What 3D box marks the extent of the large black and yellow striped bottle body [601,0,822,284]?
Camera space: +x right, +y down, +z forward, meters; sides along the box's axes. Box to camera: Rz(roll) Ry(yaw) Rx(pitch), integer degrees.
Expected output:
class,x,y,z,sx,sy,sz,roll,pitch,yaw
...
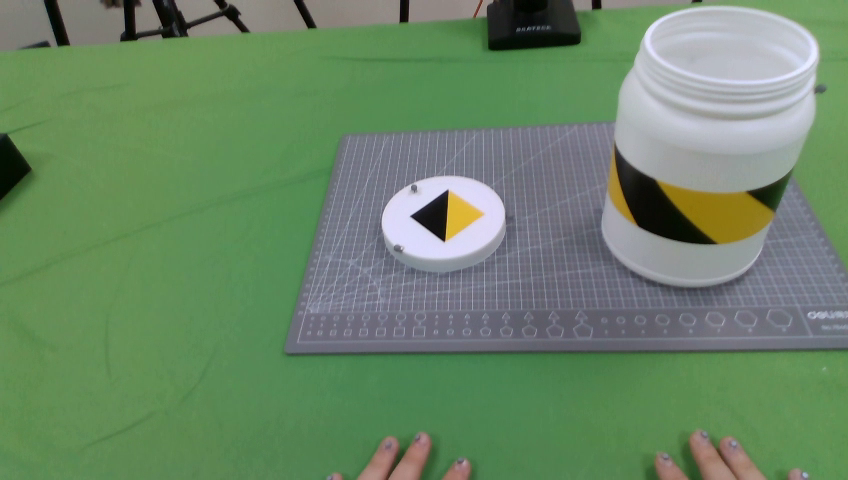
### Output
class,x,y,z,sx,sy,sz,roll,pitch,yaw
large black and yellow striped bottle body,0.210,-0.071,0.462,0.131,0.186,0.129,-4,46,4

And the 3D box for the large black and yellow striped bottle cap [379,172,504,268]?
class,x,y,z,sx,sy,sz,roll,pitch,yaw
large black and yellow striped bottle cap,0.016,-0.022,0.559,0.115,0.019,0.114,-3,46,3
